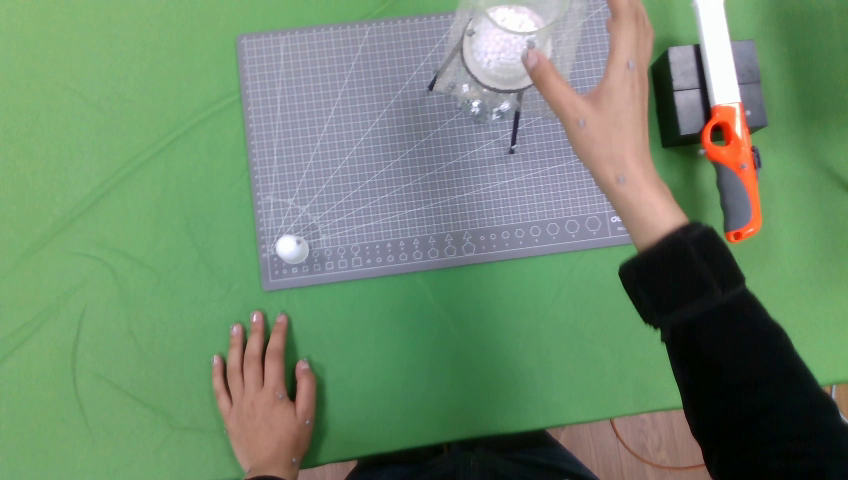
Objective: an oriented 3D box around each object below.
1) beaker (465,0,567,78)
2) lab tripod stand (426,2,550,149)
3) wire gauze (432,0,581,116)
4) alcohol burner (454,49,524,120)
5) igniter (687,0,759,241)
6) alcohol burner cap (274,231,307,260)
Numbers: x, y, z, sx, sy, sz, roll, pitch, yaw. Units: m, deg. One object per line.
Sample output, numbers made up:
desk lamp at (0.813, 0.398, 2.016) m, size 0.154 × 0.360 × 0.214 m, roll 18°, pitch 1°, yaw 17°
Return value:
beaker at (0.073, -0.192, 0.530) m, size 0.084 × 0.100 × 0.073 m, roll -6°, pitch 82°, yaw -3°
lab tripod stand at (0.077, -0.183, 0.644) m, size 0.148 × 0.132 × 0.148 m, roll 0°, pitch 82°, yaw -1°
wire gauze at (0.081, -0.187, 0.579) m, size 0.121 × 0.011 × 0.124 m, roll 15°, pitch 80°, yaw -2°
alcohol burner at (0.072, -0.173, 0.652) m, size 0.078 × 0.119 × 0.078 m, roll 0°, pitch 86°, yaw -1°
igniter at (0.324, -0.137, 0.657) m, size 0.057 × 0.025 × 0.275 m, roll -7°, pitch 84°, yaw 3°
alcohol burner cap at (-0.149, 0.005, 0.663) m, size 0.034 × 0.048 × 0.034 m, roll 0°, pitch 84°, yaw -2°
